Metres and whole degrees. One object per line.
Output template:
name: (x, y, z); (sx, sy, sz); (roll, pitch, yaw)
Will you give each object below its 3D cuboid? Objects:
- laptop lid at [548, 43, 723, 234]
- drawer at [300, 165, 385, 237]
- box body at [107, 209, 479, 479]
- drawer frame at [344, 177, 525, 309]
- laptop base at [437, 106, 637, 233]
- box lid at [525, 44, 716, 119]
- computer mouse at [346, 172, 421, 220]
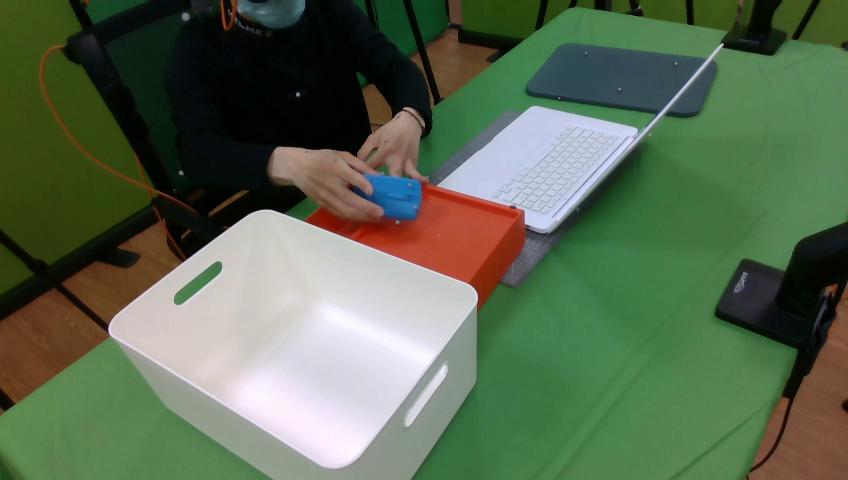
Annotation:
laptop lid: (0.336, -0.160, 0.956); (0.013, 0.241, 0.358); (43, 54, 8)
drawer: (-0.065, -0.018, 0.956); (0.210, 0.073, 0.195); (20, 48, 27)
box body: (-0.140, 0.136, 0.725); (0.361, 0.161, 0.254); (19, 47, 28)
drawer frame: (0.014, 0.009, 0.910); (0.212, 0.083, 0.202); (18, 47, 26)
laptop base: (0.210, -0.142, 1.111); (0.233, 0.023, 0.355); (21, 48, 34)
box lid: (0.432, -0.360, 1.341); (0.369, 0.015, 0.263); (16, 45, 24)
computer mouse: (-0.063, -0.067, 0.906); (0.117, 0.041, 0.062); (7, 81, 15)
